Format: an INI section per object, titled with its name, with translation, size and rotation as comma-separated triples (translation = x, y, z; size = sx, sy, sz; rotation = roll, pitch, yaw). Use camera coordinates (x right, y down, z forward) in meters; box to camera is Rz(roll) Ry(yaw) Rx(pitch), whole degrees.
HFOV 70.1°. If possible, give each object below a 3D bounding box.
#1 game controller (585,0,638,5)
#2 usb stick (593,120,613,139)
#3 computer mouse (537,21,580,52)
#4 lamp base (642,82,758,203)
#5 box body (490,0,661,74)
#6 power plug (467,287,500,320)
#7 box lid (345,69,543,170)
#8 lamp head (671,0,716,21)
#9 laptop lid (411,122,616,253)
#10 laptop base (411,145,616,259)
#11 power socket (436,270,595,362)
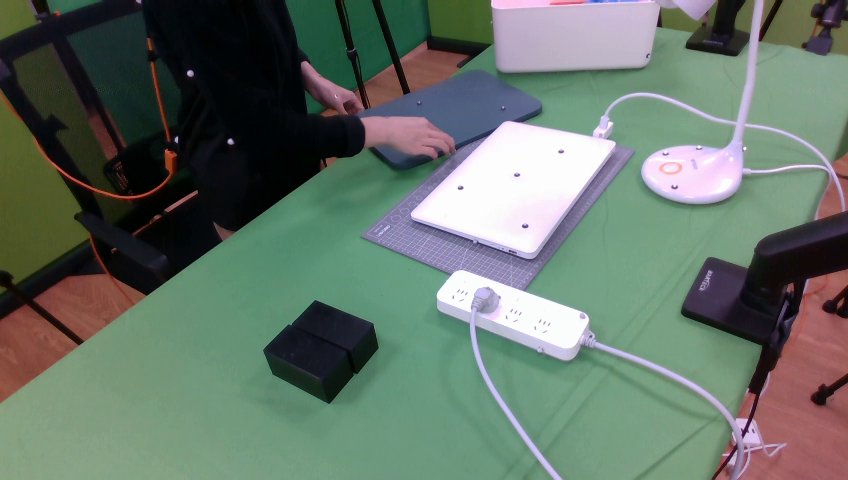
[game controller]
translation = 0.427, -0.548, 1.425
size = 0.155, 0.052, 0.096
rotation = -16, 45, -10
[usb stick]
translation = 0.336, -0.201, 1.147
size = 0.021, 0.027, 0.059
rotation = 26, 53, 27
[computer mouse]
translation = 0.335, -0.503, 1.488
size = 0.118, 0.041, 0.062
rotation = 21, 21, -28
[lamp base]
translation = 0.464, -0.174, 0.992
size = 0.179, 0.181, 0.159
rotation = -5, 41, -1
[box body]
translation = 0.346, -0.520, 1.429
size = 0.363, 0.161, 0.253
rotation = 0, 41, 9
[power plug]
translation = 0.073, 0.092, 0.814
size = 0.035, 0.053, 0.073
rotation = 29, 54, 34
[box lid]
translation = 0.042, -0.269, 1.296
size = 0.373, 0.015, 0.261
rotation = -26, 43, -20
[lamp head]
translation = 0.375, -0.373, 0.807
size = 0.122, 0.113, 0.112
rotation = -40, 27, 32
[laptop lid]
translation = 0.165, -0.111, 1.067
size = 0.240, 0.013, 0.357
rotation = 19, 46, 31
[laptop base]
translation = 0.168, -0.101, 1.073
size = 0.234, 0.023, 0.355
rotation = 17, 46, 30
[power socket]
translation = 0.118, 0.101, 0.832
size = 0.225, 0.033, 0.072
rotation = 19, 48, 27
